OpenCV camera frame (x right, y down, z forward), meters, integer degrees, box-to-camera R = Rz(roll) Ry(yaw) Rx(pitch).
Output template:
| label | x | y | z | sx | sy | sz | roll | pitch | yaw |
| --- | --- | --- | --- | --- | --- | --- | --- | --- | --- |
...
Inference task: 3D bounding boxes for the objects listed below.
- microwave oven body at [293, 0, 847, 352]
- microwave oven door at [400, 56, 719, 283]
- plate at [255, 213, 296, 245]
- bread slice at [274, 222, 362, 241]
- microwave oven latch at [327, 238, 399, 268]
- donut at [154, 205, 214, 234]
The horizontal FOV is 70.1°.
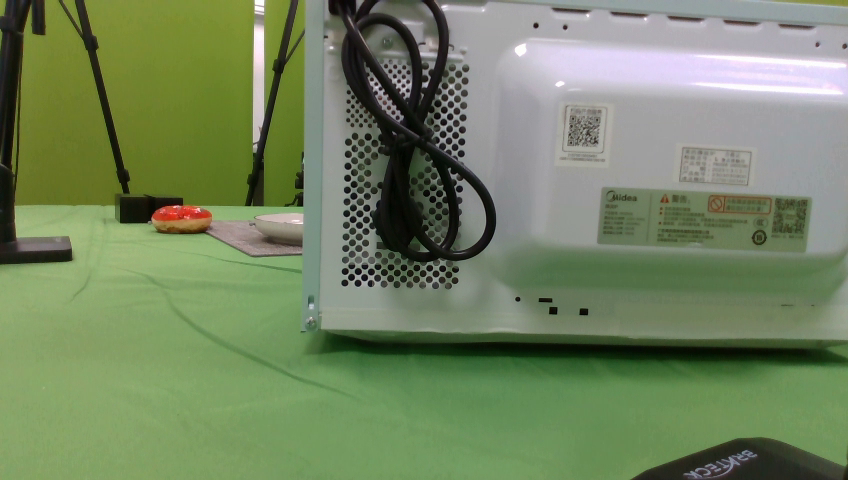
| label | x | y | z | sx | sy | sz | roll | pitch | yaw |
| --- | --- | --- | --- | --- | --- | --- | --- | --- | --- |
| microwave oven body | 0.122 | -0.055 | 0.550 | 0.442 | 0.260 | 0.325 | 3 | 7 | -5 |
| microwave oven door | 0.155 | -0.077 | 0.697 | 0.356 | 0.243 | 0.039 | 2 | 8 | -5 |
| plate | -0.177 | -0.017 | 1.017 | 0.208 | 0.039 | 0.207 | 2 | 7 | 0 |
| bread slice | -0.182 | -0.016 | 1.011 | 0.104 | 0.019 | 0.132 | 6 | 8 | 27 |
| microwave oven latch | -0.069 | 0.015 | 0.694 | 0.079 | 0.029 | 0.030 | 3 | 7 | -3 |
| donut | -0.426 | -0.037 | 1.075 | 0.099 | 0.048 | 0.099 | 2 | 12 | 0 |
